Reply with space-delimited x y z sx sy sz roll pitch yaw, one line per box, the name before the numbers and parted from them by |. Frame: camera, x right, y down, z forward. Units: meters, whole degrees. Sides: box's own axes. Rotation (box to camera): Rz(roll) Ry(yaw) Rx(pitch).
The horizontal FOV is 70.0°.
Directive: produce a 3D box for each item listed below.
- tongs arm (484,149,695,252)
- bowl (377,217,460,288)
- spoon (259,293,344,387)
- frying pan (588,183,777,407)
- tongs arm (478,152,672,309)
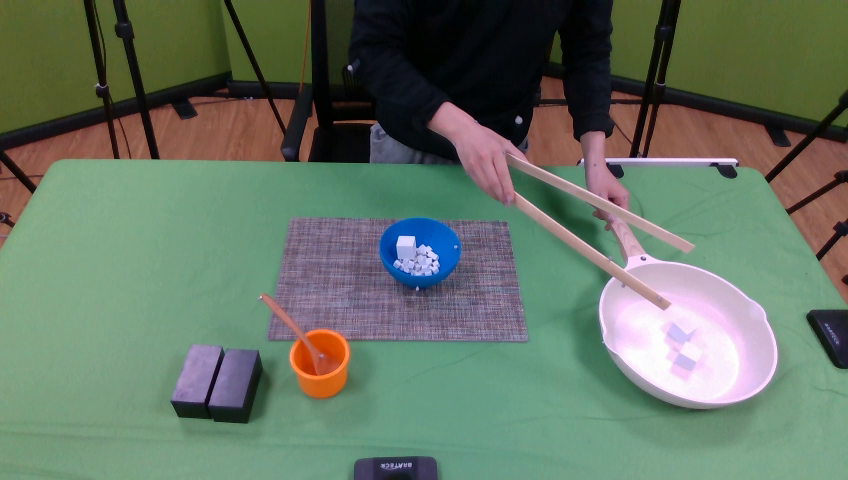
tongs arm | 0.282 -0.069 1.041 0.387 0.028 0.028 26 61 3
bowl | -0.012 0.036 1.118 0.151 0.077 0.150 2 46 -2
spoon | -0.191 0.155 0.947 0.021 0.194 0.041 -13 27 50
frying pan | 0.412 0.079 1.097 0.307 0.103 0.484 -9 56 -14
tongs arm | 0.243 -0.019 1.000 0.384 0.026 0.050 36 59 10
